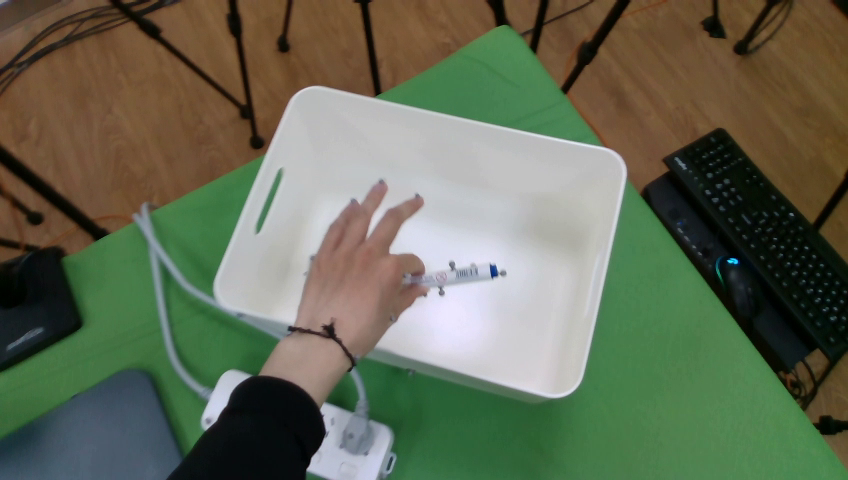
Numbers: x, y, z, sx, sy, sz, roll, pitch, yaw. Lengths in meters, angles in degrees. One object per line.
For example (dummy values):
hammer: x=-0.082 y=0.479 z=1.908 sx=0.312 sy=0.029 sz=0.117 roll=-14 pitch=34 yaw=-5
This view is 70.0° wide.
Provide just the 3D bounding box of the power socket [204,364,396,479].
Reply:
power socket: x=-0.141 y=0.204 z=0.678 sx=0.226 sy=0.033 sz=0.072 roll=18 pitch=72 yaw=10

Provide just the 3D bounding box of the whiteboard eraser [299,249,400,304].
whiteboard eraser: x=-0.087 y=0.043 z=0.716 sx=0.112 sy=0.042 sz=0.055 roll=5 pitch=73 yaw=4

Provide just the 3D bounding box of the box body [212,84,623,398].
box body: x=0.001 y=0.009 z=0.666 sx=0.363 sy=0.161 sz=0.253 roll=13 pitch=72 yaw=8

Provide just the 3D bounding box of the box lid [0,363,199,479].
box lid: x=-0.426 y=0.329 z=0.667 sx=0.371 sy=0.015 sz=0.261 roll=-30 pitch=71 yaw=-6

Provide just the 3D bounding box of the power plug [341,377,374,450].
power plug: x=-0.063 y=0.191 z=0.653 sx=0.035 sy=0.053 sz=0.072 roll=27 pitch=71 yaw=14

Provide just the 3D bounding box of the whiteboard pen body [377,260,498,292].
whiteboard pen body: x=0.001 y=0.036 z=0.580 sx=0.140 sy=0.017 sz=0.017 roll=-9 pitch=70 yaw=11

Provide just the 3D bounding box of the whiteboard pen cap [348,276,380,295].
whiteboard pen cap: x=-0.056 y=0.043 z=0.591 sx=0.033 sy=0.018 sz=0.018 roll=-8 pitch=70 yaw=10
